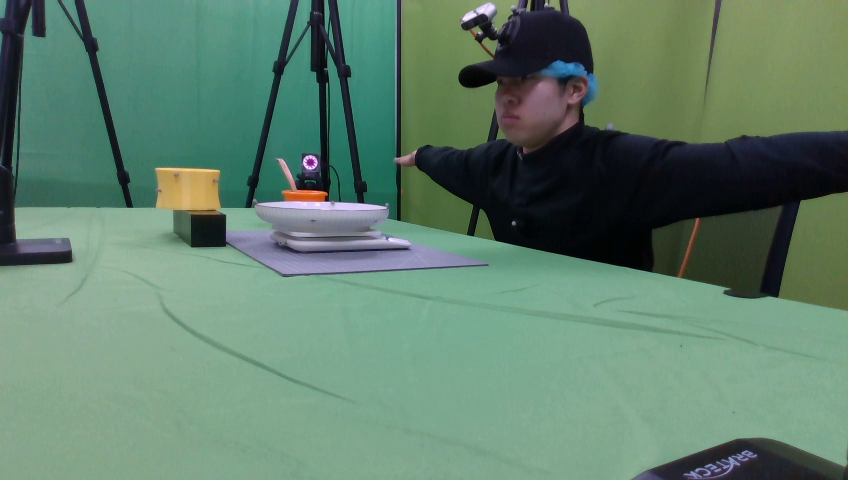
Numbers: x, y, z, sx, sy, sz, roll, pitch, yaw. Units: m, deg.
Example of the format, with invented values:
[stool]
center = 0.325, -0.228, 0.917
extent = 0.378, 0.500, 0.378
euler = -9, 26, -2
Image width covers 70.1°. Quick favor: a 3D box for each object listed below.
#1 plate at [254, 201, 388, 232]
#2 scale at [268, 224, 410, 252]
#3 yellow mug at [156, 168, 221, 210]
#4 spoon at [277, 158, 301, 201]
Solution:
[plate]
center = -0.161, -0.038, 0.961
extent = 0.209, 0.038, 0.209
euler = 2, 6, 0
[scale]
center = -0.137, -0.006, 0.980
extent = 0.202, 0.031, 0.148
euler = -1, 8, -30
[yellow mug]
center = -0.395, -0.088, 1.025
extent = 0.100, 0.064, 0.130
euler = 2, 7, -9
[spoon]
center = -0.272, -0.103, 1.260
extent = 0.042, 0.193, 0.021
euler = -5, -34, -33
